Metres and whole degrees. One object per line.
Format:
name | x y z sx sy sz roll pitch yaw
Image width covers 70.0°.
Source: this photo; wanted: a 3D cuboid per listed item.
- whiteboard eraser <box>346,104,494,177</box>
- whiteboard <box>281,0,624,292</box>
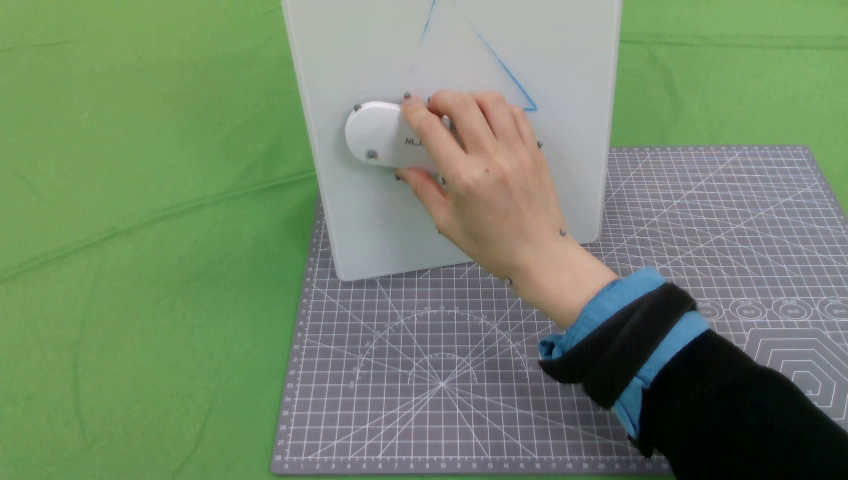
whiteboard eraser | -0.002 -0.067 0.410 0.101 0.041 0.018 6 31 -12
whiteboard | 0.017 -0.140 0.459 0.217 0.308 0.142 -9 32 -5
